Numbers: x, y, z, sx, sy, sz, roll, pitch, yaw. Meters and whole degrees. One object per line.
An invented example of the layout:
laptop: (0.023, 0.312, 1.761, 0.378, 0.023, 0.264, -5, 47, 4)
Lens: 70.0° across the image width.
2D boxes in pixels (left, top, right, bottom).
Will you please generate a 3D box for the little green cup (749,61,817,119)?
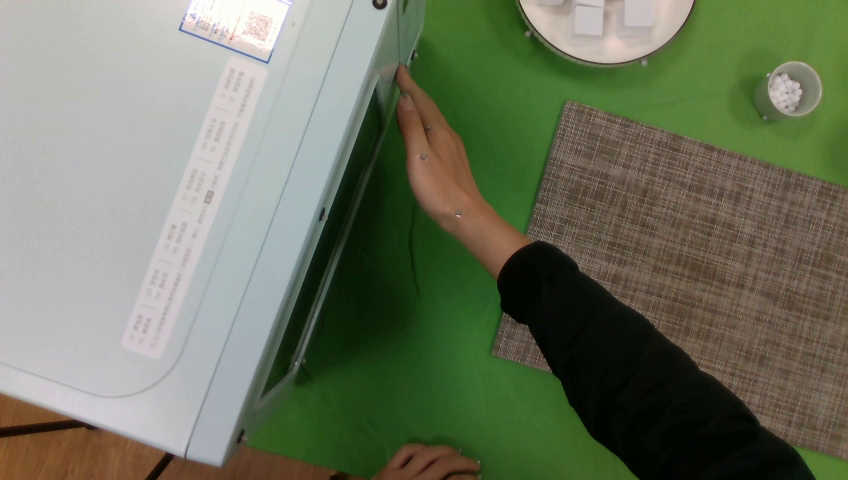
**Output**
little green cup: (0.402, -0.167, 0.684, 0.061, 0.038, 0.061, 0, 88, -3)

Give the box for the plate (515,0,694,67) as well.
plate: (0.197, -0.293, 0.677, 0.208, 0.039, 0.207, 0, 89, -3)

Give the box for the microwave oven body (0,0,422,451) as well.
microwave oven body: (-0.223, -0.101, 0.540, 0.326, 0.260, 0.441, 20, 89, -2)

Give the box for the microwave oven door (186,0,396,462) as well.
microwave oven door: (-0.102, -0.010, 0.539, 0.039, 0.244, 0.355, 20, 88, -2)

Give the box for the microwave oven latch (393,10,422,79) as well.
microwave oven latch: (-0.027, -0.214, 0.646, 0.030, 0.029, 0.079, 24, 89, -2)
